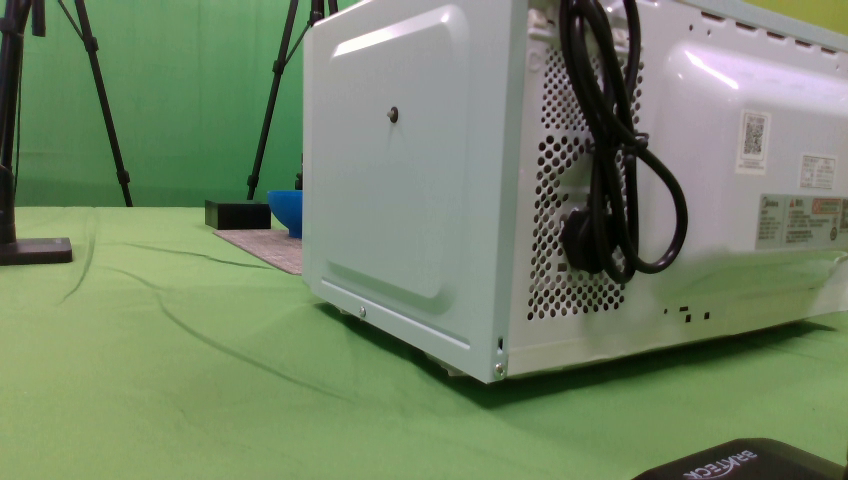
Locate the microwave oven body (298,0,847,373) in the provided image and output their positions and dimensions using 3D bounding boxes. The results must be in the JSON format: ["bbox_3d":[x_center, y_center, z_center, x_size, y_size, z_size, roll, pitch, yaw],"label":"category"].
[{"bbox_3d":[0.151,-0.055,0.543,0.444,0.260,0.324,-1,7,-33],"label":"microwave oven body"}]

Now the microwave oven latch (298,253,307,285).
[{"bbox_3d":[-0.081,0.027,0.582,0.079,0.029,0.030,-1,7,-32],"label":"microwave oven latch"}]

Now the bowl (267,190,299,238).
[{"bbox_3d":[-0.202,-0.046,1.069,0.151,0.077,0.151,3,7,0],"label":"bowl"}]

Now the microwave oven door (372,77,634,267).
[{"bbox_3d":[0.096,-0.099,0.837,0.355,0.243,0.039,5,8,20],"label":"microwave oven door"}]
